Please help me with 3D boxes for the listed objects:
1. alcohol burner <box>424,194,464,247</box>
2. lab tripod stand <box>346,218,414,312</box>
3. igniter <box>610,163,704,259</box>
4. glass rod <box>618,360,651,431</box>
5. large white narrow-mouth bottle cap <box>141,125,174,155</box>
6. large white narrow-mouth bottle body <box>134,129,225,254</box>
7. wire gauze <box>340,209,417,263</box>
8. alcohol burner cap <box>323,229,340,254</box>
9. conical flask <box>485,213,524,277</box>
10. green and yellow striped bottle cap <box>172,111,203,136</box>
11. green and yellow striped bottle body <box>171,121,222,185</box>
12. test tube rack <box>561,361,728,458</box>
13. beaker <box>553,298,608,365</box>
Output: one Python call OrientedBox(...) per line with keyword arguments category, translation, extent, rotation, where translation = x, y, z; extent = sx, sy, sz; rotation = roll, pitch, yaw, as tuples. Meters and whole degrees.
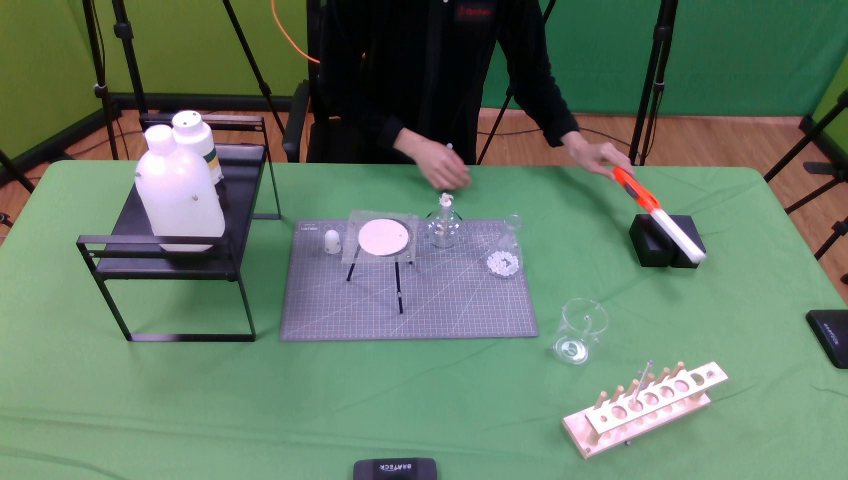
OrientedBox(category="alcohol burner", translation=(0.039, -0.044, 1.175), extent=(0.078, 0.120, 0.077), rotation=(1, 48, -1))
OrientedBox(category="lab tripod stand", translation=(-0.070, 0.037, 1.075), extent=(0.148, 0.132, 0.147), rotation=(1, 48, -1))
OrientedBox(category="igniter", translation=(0.450, -0.066, 1.196), extent=(0.057, 0.025, 0.274), rotation=(2, 43, -32))
OrientedBox(category="glass rod", translation=(0.298, 0.227, 0.865), extent=(0.008, 0.201, 0.008), rotation=(-1, 47, 2))
OrientedBox(category="large white narrow-mouth bottle cap", translation=(-0.356, -0.134, 0.811), extent=(0.038, 0.024, 0.037), rotation=(1, 48, -1))
OrientedBox(category="large white narrow-mouth bottle body", translation=(-0.358, -0.075, 0.875), extent=(0.102, 0.195, 0.101), rotation=(1, 47, -1))
OrientedBox(category="wire gauze", translation=(-0.074, -0.007, 1.023), extent=(0.121, 0.011, 0.124), rotation=(3, 46, 0))
OrientedBox(category="alcohol burner cap", translation=(-0.179, 0.001, 1.165), extent=(0.034, 0.048, 0.033), rotation=(2, 45, -2))
OrientedBox(category="conical flask", translation=(0.157, 0.007, 1.129), extent=(0.075, 0.122, 0.075), rotation=(2, 46, -2))
OrientedBox(category="green and yellow striped bottle cap", translation=(-0.374, -0.185, 0.958), extent=(0.045, 0.020, 0.045), rotation=(4, 46, -3))
OrientedBox(category="green and yellow striped bottle body", translation=(-0.375, -0.149, 0.995), extent=(0.063, 0.120, 0.063), rotation=(2, 46, -2))
OrientedBox(category="test tube rack", translation=(0.341, 0.248, 0.940), extent=(0.243, 0.085, 0.066), rotation=(-15, 49, -18))
OrientedBox(category="beaker", translation=(0.260, 0.154, 1.015), extent=(0.073, 0.101, 0.084), rotation=(37, 54, 27))
